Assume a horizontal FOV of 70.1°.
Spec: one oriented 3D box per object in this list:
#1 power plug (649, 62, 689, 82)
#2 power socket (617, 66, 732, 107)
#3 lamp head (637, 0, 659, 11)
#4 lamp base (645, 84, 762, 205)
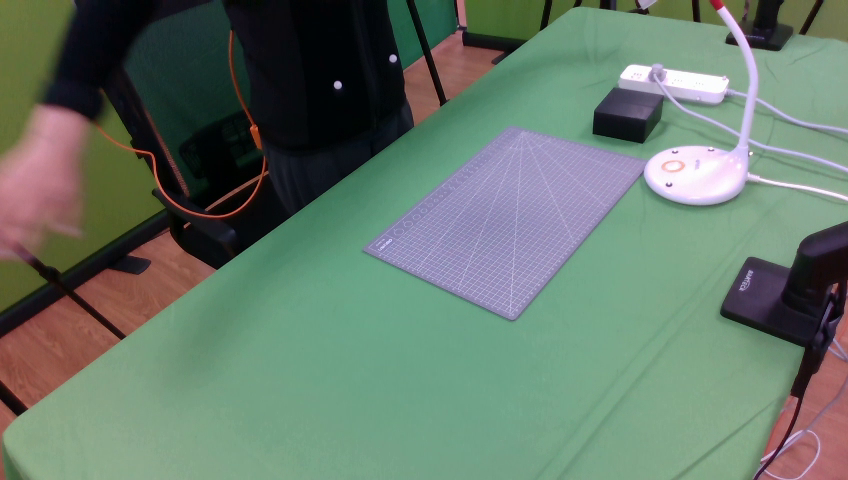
[{"bbox_3d":[0.504,-0.339,1.247,0.072,0.053,0.035,9,58,12],"label":"power plug"},{"bbox_3d":[0.517,-0.322,1.259,0.225,0.033,0.072,19,49,29],"label":"power socket"},{"bbox_3d":[0.330,-0.391,0.827,0.122,0.113,0.112,-21,35,25],"label":"lamp head"},{"bbox_3d":[0.461,-0.170,0.975,0.179,0.181,0.160,3,41,11],"label":"lamp base"}]
